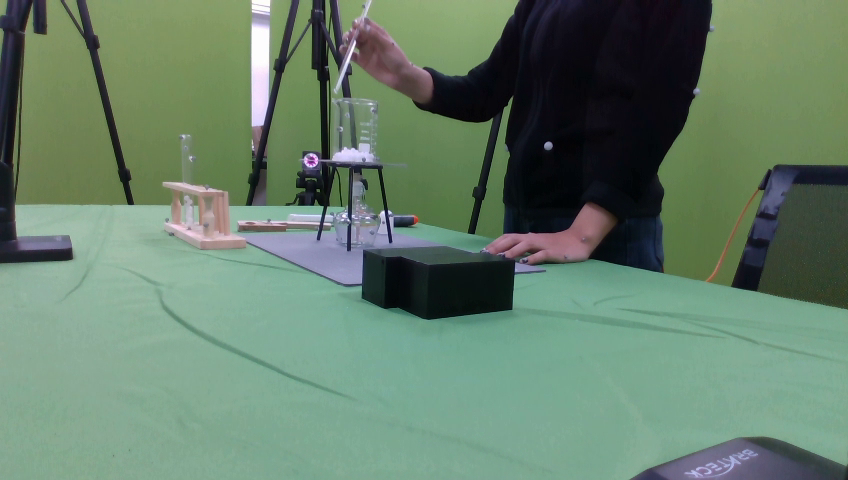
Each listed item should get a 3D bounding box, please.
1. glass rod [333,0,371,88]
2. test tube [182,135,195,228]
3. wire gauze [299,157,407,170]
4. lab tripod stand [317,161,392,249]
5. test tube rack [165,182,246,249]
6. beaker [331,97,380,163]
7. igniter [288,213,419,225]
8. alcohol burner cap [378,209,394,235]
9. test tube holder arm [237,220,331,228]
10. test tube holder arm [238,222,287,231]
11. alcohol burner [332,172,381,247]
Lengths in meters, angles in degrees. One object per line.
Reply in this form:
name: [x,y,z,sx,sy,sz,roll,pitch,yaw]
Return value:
glass rod: [-0.116,-0.330,0.990,0.008,0.199,0.008,14,-22,6]
test tube: [-0.382,-0.095,0.983,0.017,0.150,0.017,-1,2,0]
wire gauze: [-0.112,-0.124,0.959,0.121,0.011,0.126,13,11,40]
lab tripod stand: [-0.111,-0.059,0.964,0.148,0.131,0.148,4,8,0]
test tube rack: [-0.360,-0.044,0.982,0.067,0.085,0.241,-3,9,-34]
beaker: [-0.111,-0.171,0.950,0.073,0.100,0.084,12,12,42]
igniter: [-0.145,-0.044,1.278,0.278,0.025,0.057,-1,-2,-21]
alcohol burner cap: [-0.072,-0.035,1.145,0.034,0.048,0.034,2,7,0]
test tube holder arm: [-0.260,-0.029,1.140,0.179,0.015,0.013,-2,41,-32]
test tube holder arm: [-0.296,-0.024,1.112,0.088,0.015,0.010,-1,41,-32]
alcohol burner: [-0.107,-0.048,0.961,0.078,0.119,0.078,1,9,0]
